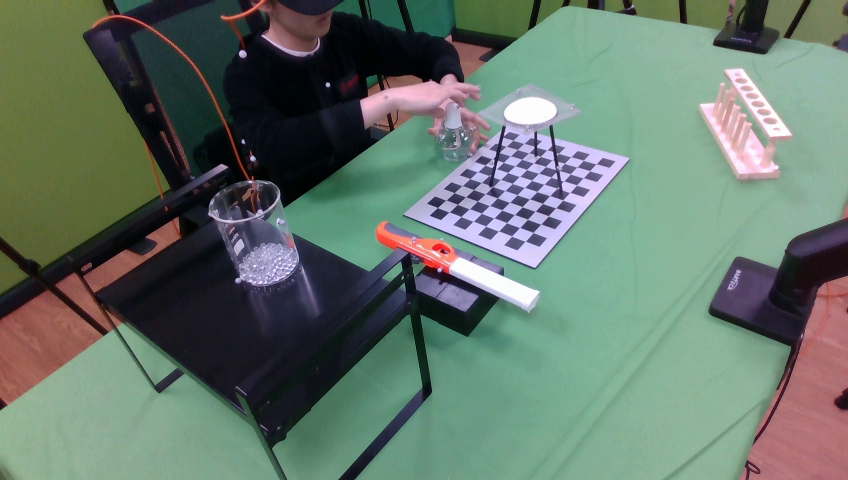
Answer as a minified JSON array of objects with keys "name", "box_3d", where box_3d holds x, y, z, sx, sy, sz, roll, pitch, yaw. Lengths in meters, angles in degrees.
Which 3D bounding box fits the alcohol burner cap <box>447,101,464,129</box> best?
[{"name":"alcohol burner cap","box_3d":[0.057,-0.235,1.122,0.034,0.048,0.033,-3,42,3]}]

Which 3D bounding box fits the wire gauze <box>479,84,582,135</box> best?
[{"name":"wire gauze","box_3d":[0.176,-0.216,1.006,0.125,0.011,0.120,-29,46,-22]}]

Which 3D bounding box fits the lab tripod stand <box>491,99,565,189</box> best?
[{"name":"lab tripod stand","box_3d":[0.184,-0.163,1.046,0.148,0.132,0.147,-5,42,5]}]

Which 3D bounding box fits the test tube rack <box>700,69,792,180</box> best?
[{"name":"test tube rack","box_3d":[0.571,-0.215,1.089,0.066,0.085,0.241,-3,41,7]}]

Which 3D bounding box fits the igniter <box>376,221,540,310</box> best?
[{"name":"igniter","box_3d":[0.037,0.031,0.858,0.274,0.025,0.057,24,46,29]}]

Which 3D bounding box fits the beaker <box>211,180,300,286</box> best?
[{"name":"beaker","box_3d":[-0.183,-0.007,0.674,0.074,0.101,0.083,-1,40,7]}]

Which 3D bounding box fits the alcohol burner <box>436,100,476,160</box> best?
[{"name":"alcohol burner","box_3d":[0.060,-0.211,1.142,0.078,0.119,0.077,-3,42,3]}]
